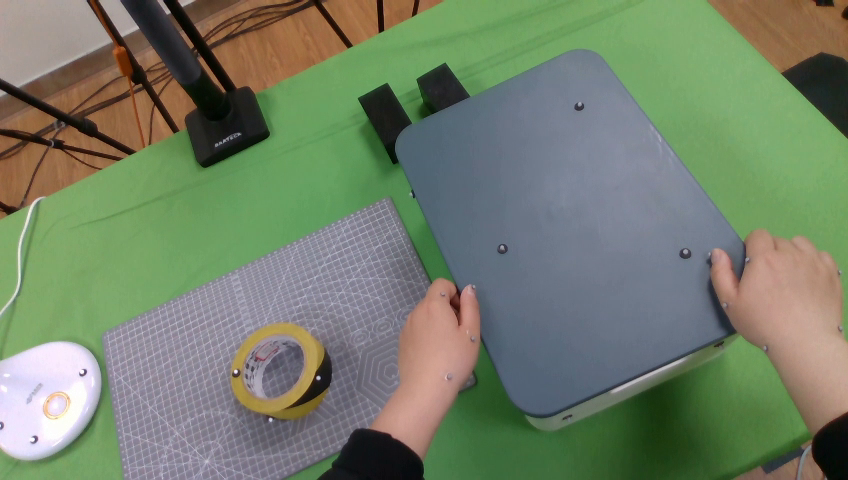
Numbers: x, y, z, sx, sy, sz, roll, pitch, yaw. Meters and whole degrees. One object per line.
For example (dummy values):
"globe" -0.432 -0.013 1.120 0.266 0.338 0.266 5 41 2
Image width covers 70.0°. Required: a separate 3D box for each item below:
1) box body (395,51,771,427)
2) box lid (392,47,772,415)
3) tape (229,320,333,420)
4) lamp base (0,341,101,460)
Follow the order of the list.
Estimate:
"box body" 0.154 -0.001 0.690 0.254 0.162 0.360 -25 61 0
"box lid" 0.138 -0.035 0.626 0.263 0.015 0.367 -25 62 0
"tape" -0.176 0.160 0.749 0.116 0.053 0.116 -5 63 10
"lamp base" -0.539 0.178 0.755 0.178 0.182 0.159 9 66 20
